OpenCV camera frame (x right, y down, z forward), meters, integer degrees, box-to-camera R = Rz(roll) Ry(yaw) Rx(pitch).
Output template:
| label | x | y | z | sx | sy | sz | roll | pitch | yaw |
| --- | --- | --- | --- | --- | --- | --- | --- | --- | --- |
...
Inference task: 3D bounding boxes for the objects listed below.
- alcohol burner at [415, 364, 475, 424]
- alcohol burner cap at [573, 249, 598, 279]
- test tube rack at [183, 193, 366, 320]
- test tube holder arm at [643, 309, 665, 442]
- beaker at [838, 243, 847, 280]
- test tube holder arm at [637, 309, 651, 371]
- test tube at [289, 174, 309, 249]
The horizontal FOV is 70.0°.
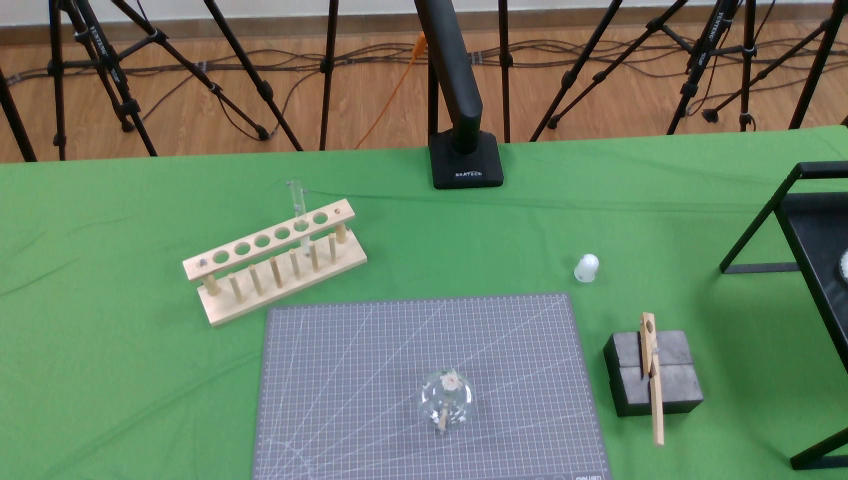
| label | x | y | z | sx | sy | sz | roll | pitch | yaw |
| --- | --- | --- | --- | --- | --- | --- | --- | --- | --- |
| alcohol burner | 0.027 | 0.188 | 0.764 | 0.078 | 0.120 | 0.077 | 2 | 57 | -2 |
| alcohol burner cap | 0.248 | 0.034 | 0.922 | 0.034 | 0.048 | 0.033 | 0 | 56 | 0 |
| test tube rack | -0.210 | 0.023 | 0.884 | 0.242 | 0.086 | 0.066 | -23 | 60 | -17 |
| test tube holder arm | 0.299 | 0.172 | 0.790 | 0.013 | 0.015 | 0.177 | 3 | 58 | 1 |
| beaker | 0.537 | 0.010 | 0.698 | 0.084 | 0.101 | 0.073 | -14 | 58 | -10 |
| test tube holder arm | 0.297 | 0.134 | 0.814 | 0.010 | 0.015 | 0.087 | 5 | 58 | 3 |
| test tube | -0.176 | -0.036 | 0.865 | 0.017 | 0.151 | 0.017 | 2 | 51 | -2 |
